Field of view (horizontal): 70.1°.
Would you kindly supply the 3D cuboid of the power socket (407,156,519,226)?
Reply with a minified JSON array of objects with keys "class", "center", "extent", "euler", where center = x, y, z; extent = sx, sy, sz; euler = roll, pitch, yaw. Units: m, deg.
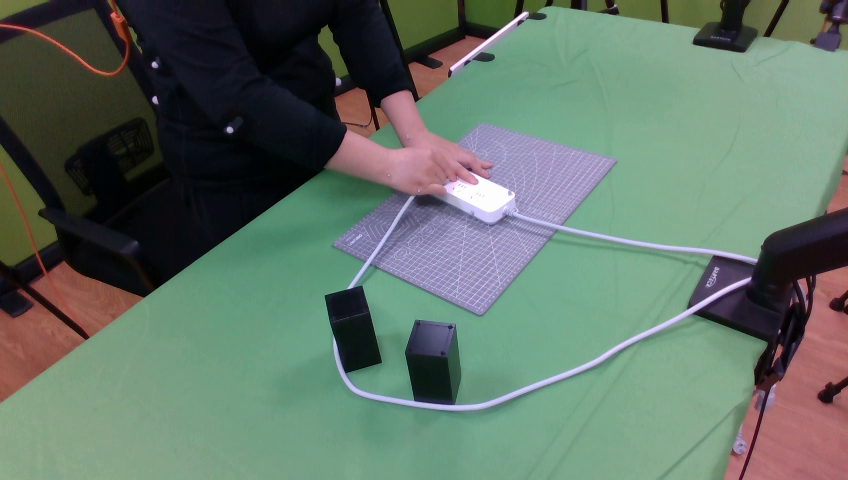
[{"class":"power socket","center":[0.061,-0.089,1.054],"extent":[0.072,0.033,0.225],"euler":[-36,48,-29]}]

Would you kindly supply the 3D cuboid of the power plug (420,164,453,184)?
[{"class":"power plug","center":[0.017,-0.105,1.045],"extent":[0.073,0.053,0.035],"euler":[-27,47,-20]}]
